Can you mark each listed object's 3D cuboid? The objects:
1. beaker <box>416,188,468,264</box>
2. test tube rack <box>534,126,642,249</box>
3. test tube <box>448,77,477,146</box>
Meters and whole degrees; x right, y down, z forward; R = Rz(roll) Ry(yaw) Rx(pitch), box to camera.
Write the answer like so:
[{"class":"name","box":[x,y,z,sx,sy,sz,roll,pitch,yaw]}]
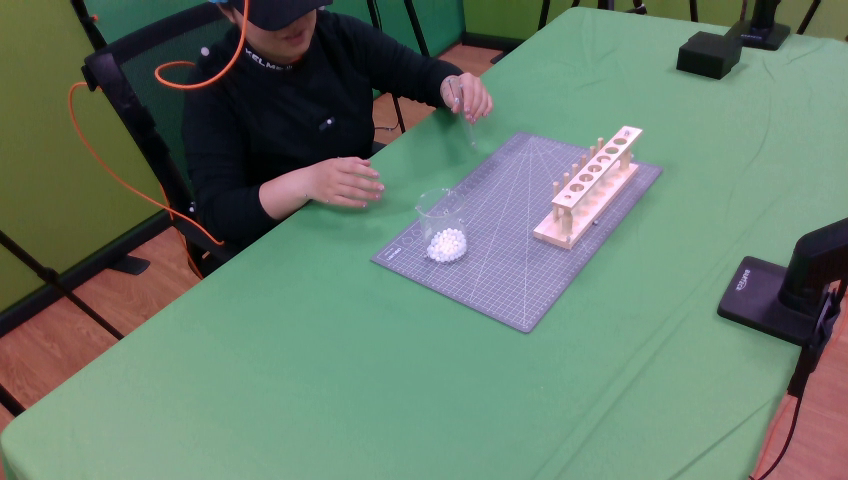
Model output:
[{"class":"beaker","box":[0.032,-0.021,0.937,0.073,0.101,0.084,9,42,20]},{"class":"test tube rack","box":[0.271,-0.095,0.990,0.066,0.085,0.243,23,49,33]},{"class":"test tube","box":[0.071,-0.230,1.098,0.017,0.151,0.017,-12,45,13]}]
